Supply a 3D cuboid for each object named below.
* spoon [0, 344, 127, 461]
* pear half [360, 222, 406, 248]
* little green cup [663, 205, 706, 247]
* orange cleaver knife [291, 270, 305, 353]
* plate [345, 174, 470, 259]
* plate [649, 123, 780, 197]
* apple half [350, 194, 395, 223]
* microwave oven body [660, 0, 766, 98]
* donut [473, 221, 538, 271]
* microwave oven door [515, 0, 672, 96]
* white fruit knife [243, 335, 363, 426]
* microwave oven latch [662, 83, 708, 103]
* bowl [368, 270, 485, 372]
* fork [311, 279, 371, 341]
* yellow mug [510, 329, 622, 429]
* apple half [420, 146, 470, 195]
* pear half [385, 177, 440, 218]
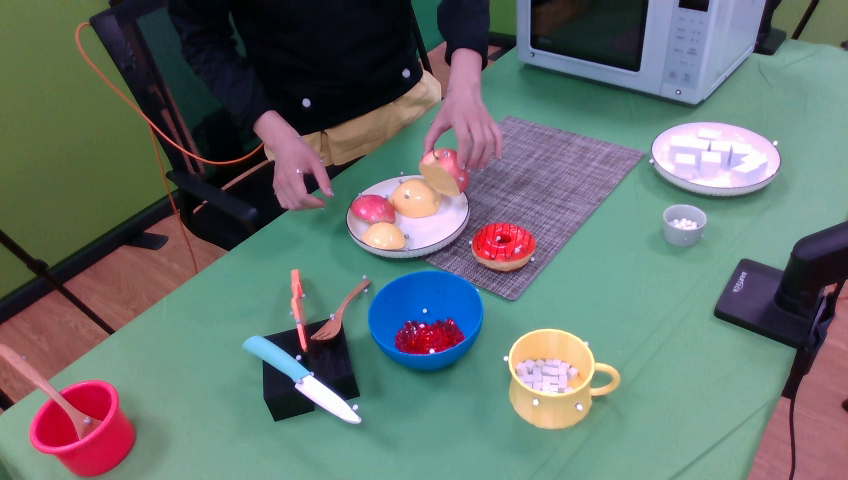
[{"bbox_3d":[-0.433,0.191,0.721,0.194,0.021,0.042,47,53,-6],"label":"spoon"},{"bbox_3d":[-0.064,-0.013,0.959,0.071,0.031,0.087,5,21,-24],"label":"pear half"},{"bbox_3d":[0.396,-0.021,0.926,0.061,0.039,0.061,-4,40,4],"label":"little green cup"},{"bbox_3d":[-0.175,0.094,0.844,0.012,0.077,0.210,-11,14,-10],"label":"orange cleaver knife"},{"bbox_3d":[-0.026,-0.037,1.004,0.209,0.038,0.208,-4,40,4],"label":"plate"},{"bbox_3d":[0.497,-0.135,1.046,0.207,0.039,0.206,-4,40,4],"label":"plate"},{"bbox_3d":[-0.081,-0.058,1.008,0.081,0.033,0.081,12,23,-5],"label":"apple half"},{"bbox_3d":[0.472,-0.513,1.317,0.438,0.261,0.327,26,51,34],"label":"microwave oven body"},{"bbox_3d":[0.123,0.008,0.923,0.099,0.048,0.098,-3,38,3],"label":"donut"},{"bbox_3d":[0.343,-0.454,1.259,0.353,0.245,0.039,26,51,33],"label":"microwave oven door"},{"bbox_3d":[-0.148,0.167,0.730,0.206,0.016,0.027,26,80,31],"label":"white fruit knife"},{"bbox_3d":[0.518,-0.297,1.204,0.078,0.029,0.030,28,52,35],"label":"microwave oven latch"},{"bbox_3d":[0.007,0.118,0.791,0.151,0.077,0.150,-5,40,4],"label":"bowl"},{"bbox_3d":[-0.108,0.092,0.832,0.028,0.019,0.207,-6,19,15],"label":"fork"},{"bbox_3d":[0.168,0.164,0.721,0.130,0.064,0.099,0,40,8],"label":"yellow mug"},{"bbox_3d":[0.041,-0.114,0.951,0.053,0.075,0.080,-50,36,-18],"label":"apple half"},{"bbox_3d":[-0.030,-0.079,1.033,0.109,0.056,0.076,-1,36,15],"label":"pear half"}]
